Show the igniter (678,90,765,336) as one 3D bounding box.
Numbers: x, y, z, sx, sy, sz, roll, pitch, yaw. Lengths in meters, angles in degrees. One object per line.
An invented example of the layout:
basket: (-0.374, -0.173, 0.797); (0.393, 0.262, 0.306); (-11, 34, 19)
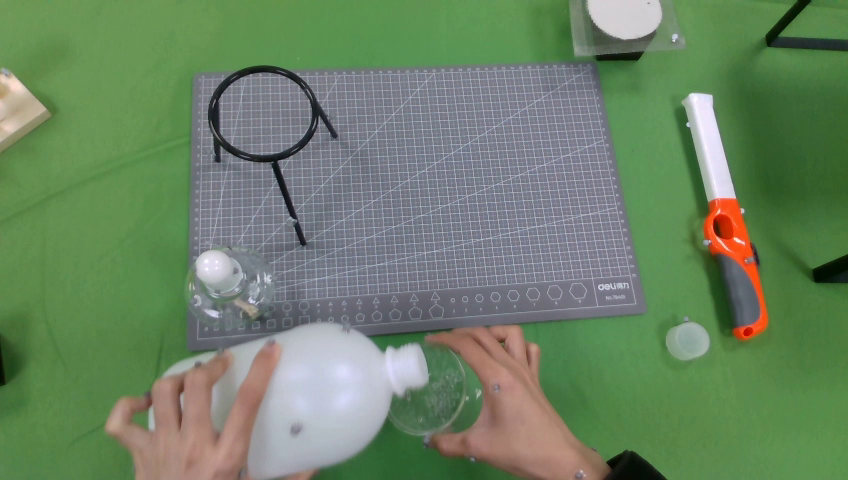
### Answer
igniter: (0.316, -0.035, 0.648); (0.057, 0.025, 0.274); (0, 72, -16)

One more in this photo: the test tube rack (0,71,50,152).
test tube rack: (-0.490, -0.083, 0.558); (0.066, 0.085, 0.242); (43, 73, 9)

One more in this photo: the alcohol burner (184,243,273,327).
alcohol burner: (-0.174, 0.035, 0.532); (0.078, 0.119, 0.077); (2, 70, -6)

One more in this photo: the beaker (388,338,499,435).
beaker: (0.016, 0.130, 0.522); (0.083, 0.101, 0.073); (2, 72, 26)

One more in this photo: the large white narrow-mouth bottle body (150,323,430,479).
large white narrow-mouth bottle body: (-0.091, 0.116, 0.448); (0.194, 0.102, 0.101); (-17, 73, 10)

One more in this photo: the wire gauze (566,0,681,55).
wire gauze: (0.215, -0.261, 0.671); (0.121, 0.011, 0.124); (-2, 73, -6)

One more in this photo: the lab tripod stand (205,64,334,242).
lab tripod stand: (-0.138, -0.084, 0.563); (0.148, 0.132, 0.147); (2, 72, -6)

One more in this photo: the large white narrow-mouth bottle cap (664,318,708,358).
large white narrow-mouth bottle cap: (0.261, 0.098, 0.604); (0.038, 0.024, 0.037); (1, 71, -4)

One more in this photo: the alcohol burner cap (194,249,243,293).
alcohol burner cap: (-0.171, 0.024, 0.497); (0.034, 0.048, 0.033); (1, 77, -4)
